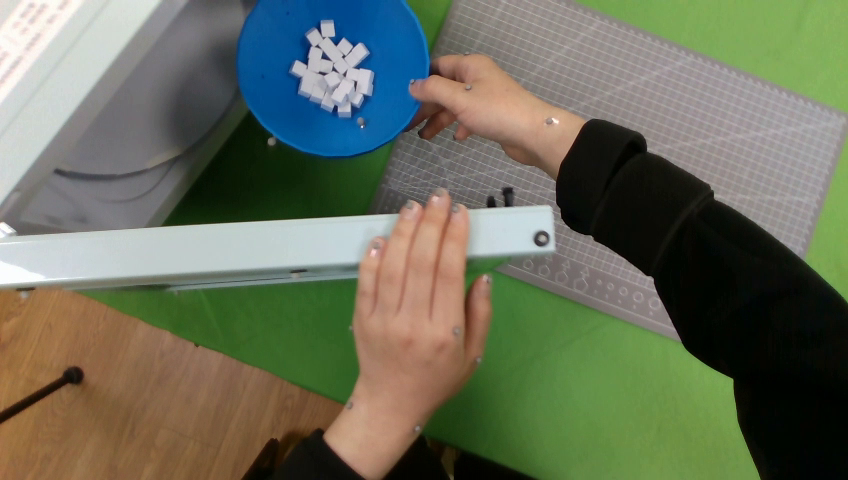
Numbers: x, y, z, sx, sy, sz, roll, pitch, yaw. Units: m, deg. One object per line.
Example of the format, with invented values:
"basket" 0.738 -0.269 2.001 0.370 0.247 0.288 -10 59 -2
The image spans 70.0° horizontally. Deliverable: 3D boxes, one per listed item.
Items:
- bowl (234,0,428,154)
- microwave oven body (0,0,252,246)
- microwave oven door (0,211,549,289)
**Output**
"bowl" -0.074 -0.141 0.508 0.151 0.077 0.151 0 88 -4
"microwave oven body" -0.267 -0.238 0.497 0.326 0.260 0.441 35 86 -1
"microwave oven door" -0.101 0.010 0.485 0.356 0.244 0.039 -4 85 -3
